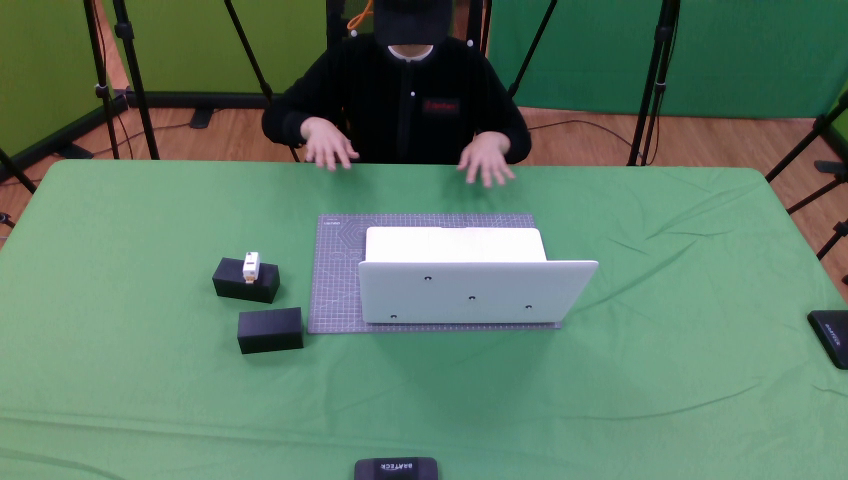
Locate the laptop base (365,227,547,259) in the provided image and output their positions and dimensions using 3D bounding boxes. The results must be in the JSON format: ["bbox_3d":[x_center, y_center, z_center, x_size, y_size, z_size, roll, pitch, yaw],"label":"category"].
[{"bbox_3d":[0.064,0.062,1.144,0.355,0.023,0.234,0,43,-4],"label":"laptop base"}]

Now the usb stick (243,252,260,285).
[{"bbox_3d":[-0.301,0.050,1.055,0.021,0.027,0.059,1,48,-6],"label":"usb stick"}]

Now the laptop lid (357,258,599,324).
[{"bbox_3d":[0.075,0.087,0.960,0.357,0.242,0.013,1,60,-5],"label":"laptop lid"}]
